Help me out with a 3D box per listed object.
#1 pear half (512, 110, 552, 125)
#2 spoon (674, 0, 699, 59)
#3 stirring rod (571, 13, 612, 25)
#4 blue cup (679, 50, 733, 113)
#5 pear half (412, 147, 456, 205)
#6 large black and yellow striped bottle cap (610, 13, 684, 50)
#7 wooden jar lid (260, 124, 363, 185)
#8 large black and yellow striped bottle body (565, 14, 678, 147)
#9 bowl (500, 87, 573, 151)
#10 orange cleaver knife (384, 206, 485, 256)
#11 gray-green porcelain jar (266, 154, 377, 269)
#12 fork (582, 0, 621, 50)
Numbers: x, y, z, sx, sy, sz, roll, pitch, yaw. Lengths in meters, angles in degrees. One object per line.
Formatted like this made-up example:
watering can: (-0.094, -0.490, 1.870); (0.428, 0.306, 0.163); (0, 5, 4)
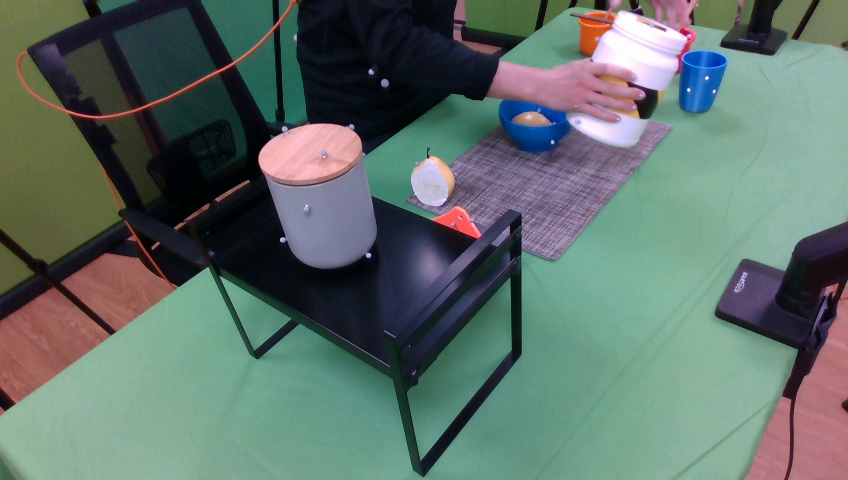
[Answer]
pear half: (0.212, -0.228, 1.152); (0.088, 0.031, 0.070); (9, 46, 9)
spoon: (0.567, -0.463, 1.337); (0.041, 0.022, 0.193); (29, 96, 38)
stirring rod: (0.419, -0.508, 1.404); (0.174, 0.006, 0.014); (28, 55, 35)
blue cup: (0.545, -0.310, 1.193); (0.092, 0.100, 0.092); (-3, 40, 3)
pear half: (0.019, -0.120, 1.042); (0.076, 0.110, 0.056); (11, 44, 16)
large black and yellow striped bottle cap: (0.351, -0.329, 0.953); (0.115, 0.019, 0.114); (16, 29, -8)
wooden jar lid: (-0.119, -0.088, 0.645); (0.108, 0.021, 0.108); (-4, 40, 4)
large black and yellow striped bottle body: (0.327, -0.261, 0.995); (0.131, 0.184, 0.130); (15, 30, -9)
bowl: (0.221, -0.223, 1.156); (0.151, 0.077, 0.150); (-4, 40, 4)
orange cleaver knife: (0.012, -0.010, 0.942); (0.012, 0.077, 0.210); (-37, 19, -35)
gray-green porcelain jar: (-0.112, -0.039, 0.685); (0.106, 0.127, 0.105); (-4, 40, 4)
fork: (0.446, -0.539, 1.438); (0.207, 0.019, 0.028); (-57, 35, 12)
